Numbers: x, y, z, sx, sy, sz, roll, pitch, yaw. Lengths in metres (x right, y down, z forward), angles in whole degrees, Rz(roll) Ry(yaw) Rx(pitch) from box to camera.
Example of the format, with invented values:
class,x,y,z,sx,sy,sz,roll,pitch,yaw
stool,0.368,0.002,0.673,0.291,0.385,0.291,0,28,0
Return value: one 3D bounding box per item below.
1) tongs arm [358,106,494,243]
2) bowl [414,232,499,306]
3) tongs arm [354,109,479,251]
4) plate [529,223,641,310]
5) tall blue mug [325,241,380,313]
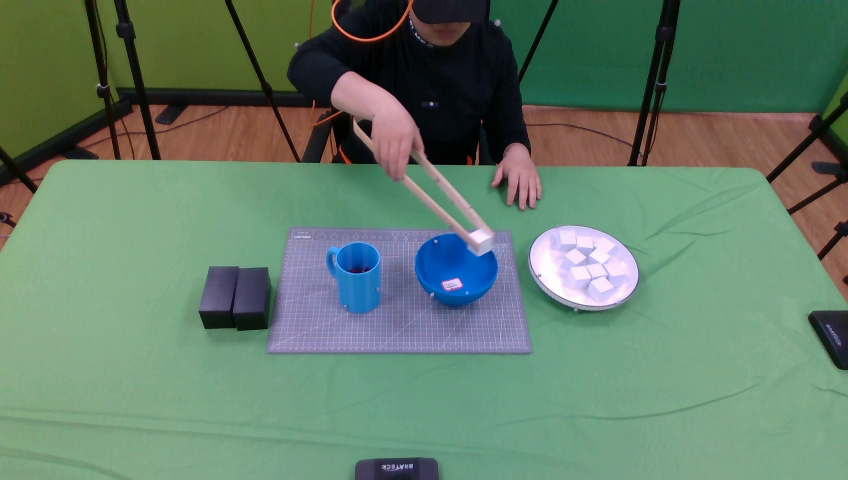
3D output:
class,x,y,z,sx,sy,sz,roll,pitch,yaw
tongs arm,-0.006,-0.128,1.130,0.051,0.026,0.382,-27,62,-22
bowl,0.056,0.066,1.095,0.151,0.077,0.150,2,46,-2
tongs arm,-0.024,-0.117,1.120,0.028,0.028,0.385,-32,64,-21
plate,0.303,0.053,1.156,0.209,0.038,0.208,2,46,-2
tall blue mug,-0.130,0.063,1.062,0.107,0.108,0.077,9,47,5
